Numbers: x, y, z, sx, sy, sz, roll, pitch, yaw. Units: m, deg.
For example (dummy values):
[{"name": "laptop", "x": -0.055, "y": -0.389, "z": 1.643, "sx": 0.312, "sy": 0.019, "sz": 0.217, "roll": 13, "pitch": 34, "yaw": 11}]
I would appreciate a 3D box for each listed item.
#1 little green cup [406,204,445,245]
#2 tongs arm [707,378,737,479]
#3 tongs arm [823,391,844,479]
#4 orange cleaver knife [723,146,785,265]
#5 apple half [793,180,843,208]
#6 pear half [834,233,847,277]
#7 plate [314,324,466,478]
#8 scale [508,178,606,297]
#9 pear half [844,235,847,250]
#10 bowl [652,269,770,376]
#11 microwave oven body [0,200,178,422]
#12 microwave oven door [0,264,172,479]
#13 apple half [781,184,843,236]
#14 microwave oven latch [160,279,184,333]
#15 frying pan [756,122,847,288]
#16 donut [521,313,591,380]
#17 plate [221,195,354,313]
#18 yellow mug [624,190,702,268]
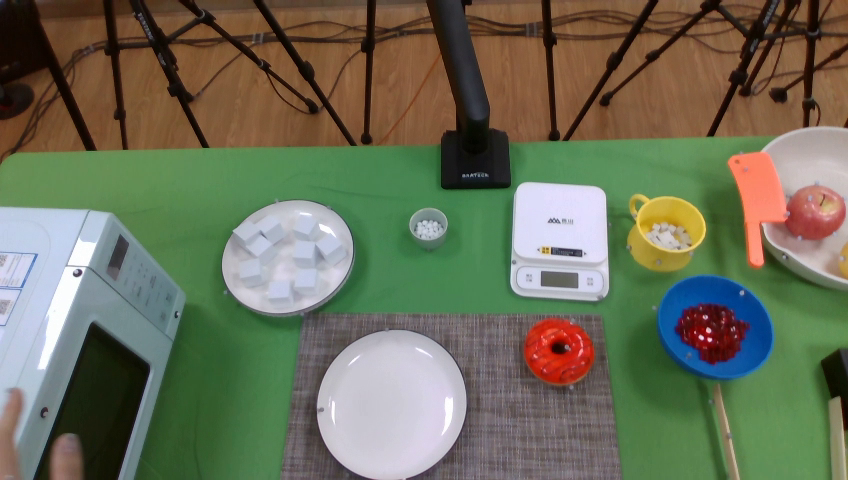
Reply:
[{"name": "little green cup", "x": 0.004, "y": -0.023, "z": 0.974, "sx": 0.061, "sy": 0.039, "sz": 0.061, "roll": -1, "pitch": 60, "yaw": 3}, {"name": "tongs arm", "x": 0.409, "y": 0.359, "z": 0.738, "sx": 0.051, "sy": 0.027, "sz": 0.381, "roll": 3, "pitch": 62, "yaw": -1}, {"name": "tongs arm", "x": 0.495, "y": 0.368, "z": 0.734, "sx": 0.028, "sy": 0.028, "sz": 0.385, "roll": 17, "pitch": 63, "yaw": 3}, {"name": "orange cleaver knife", "x": 0.498, "y": -0.057, "z": 0.907, "sx": 0.077, "sy": 0.012, "sz": 0.209, "roll": 3, "pitch": 61, "yaw": 8}, {"name": "apple half", "x": 0.608, "y": -0.064, "z": 0.937, "sx": 0.080, "sy": 0.082, "sz": 0.033, "roll": 38, "pitch": 72, "yaw": 22}, {"name": "pear half", "x": 0.639, "y": 0.020, "z": 0.868, "sx": 0.076, "sy": 0.111, "sz": 0.056, "roll": 32, "pitch": 67, "yaw": 23}, {"name": "plate", "x": -0.046, "y": 0.219, "z": 0.835, "sx": 0.209, "sy": 0.038, "sz": 0.207, "roll": -1, "pitch": 61, "yaw": 3}, {"name": "scale", "x": 0.211, "y": -0.008, "z": 0.958, "sx": 0.148, "sy": 0.032, "sz": 0.199, "roll": 4, "pitch": 61, "yaw": 6}, {"name": "pear half", "x": 0.664, "y": 0.001, "z": 0.889, "sx": 0.070, "sy": 0.089, "sz": 0.031, "roll": 30, "pitch": 68, "yaw": 22}, {"name": "bowl", "x": 0.388, "y": 0.125, "z": 0.847, "sx": 0.151, "sy": 0.077, "sz": 0.150, "roll": -1, "pitch": 61, "yaw": 3}, {"name": "microwave oven body", "x": -0.549, "y": 0.197, "z": 0.747, "sx": 0.326, "sy": 0.262, "sz": 0.438, "roll": 3, "pitch": 61, "yaw": 4}, {"name": "microwave oven door", "x": -0.407, "y": 0.237, "z": 0.711, "sx": 0.039, "sy": 0.246, "sz": 0.353, "roll": 2, "pitch": 61, "yaw": 5}, {"name": "apple half", "x": 0.582, "y": -0.038, "z": 0.925, "sx": 0.080, "sy": 0.075, "sz": 0.053, "roll": 39, "pitch": 73, "yaw": 19}, {"name": "microwave oven latch", "x": -0.383, "y": 0.098, "z": 0.905, "sx": 0.030, "sy": 0.030, "sz": 0.078, "roll": 4, "pitch": 62, "yaw": 5}, {"name": "frying pan", "x": 0.679, "y": 0.021, "z": 0.873, "sx": 0.307, "sy": 0.104, "sz": 0.482, "roll": -24, "pitch": 54, "yaw": -9}, {"name": "donut", "x": 0.186, "y": 0.150, "z": 0.858, "sx": 0.099, "sy": 0.048, "sz": 0.098, "roll": -2, "pitch": 61, "yaw": 4}, {"name": "plate", "x": -0.212, "y": 0.024, "z": 0.959, "sx": 0.207, "sy": 0.039, "sz": 0.206, "roll": -1, "pitch": 60, "yaw": 2}, {"name": "yellow mug", "x": 0.358, "y": -0.027, "z": 0.940, "sx": 0.100, "sy": 0.064, "sz": 0.129, "roll": -29, "pitch": 62, "yaw": -12}]
